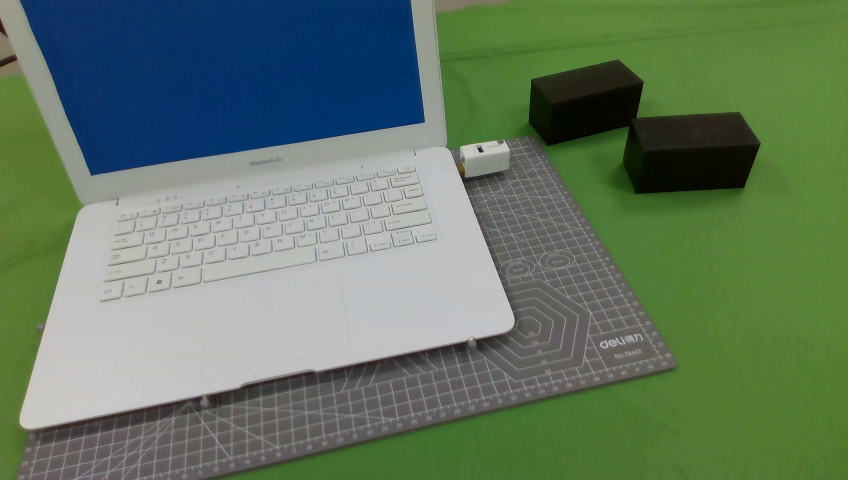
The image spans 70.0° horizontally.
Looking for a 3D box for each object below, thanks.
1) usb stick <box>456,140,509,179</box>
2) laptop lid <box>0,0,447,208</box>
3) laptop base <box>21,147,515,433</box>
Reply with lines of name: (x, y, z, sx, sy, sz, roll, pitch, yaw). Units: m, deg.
usb stick: (0.050, -0.076, 0.579, 0.059, 0.027, 0.021, -13, 45, -5)
laptop lid: (-0.162, -0.158, 0.532, 0.357, 0.244, 0.013, -12, 30, -6)
laptop base: (-0.125, 0.023, 0.509, 0.355, 0.023, 0.233, -11, 48, -6)
